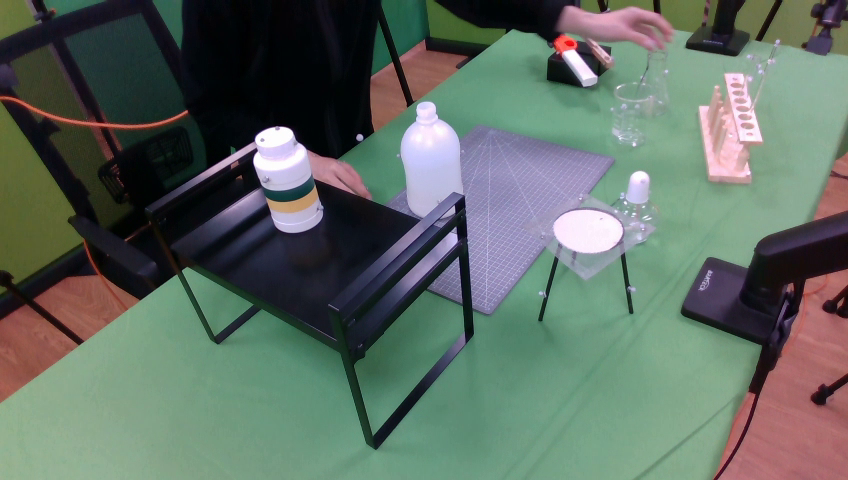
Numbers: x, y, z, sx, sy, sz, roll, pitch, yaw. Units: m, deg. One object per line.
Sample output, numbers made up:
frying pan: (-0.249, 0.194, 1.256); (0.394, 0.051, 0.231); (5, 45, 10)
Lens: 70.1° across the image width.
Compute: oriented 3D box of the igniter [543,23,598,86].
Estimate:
igniter: (0.320, -0.419, 1.344); (0.057, 0.025, 0.274); (-12, 44, -3)

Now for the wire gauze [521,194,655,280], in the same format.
wire gauze: (0.207, -0.012, 0.772); (0.122, 0.011, 0.124); (-28, 44, -20)

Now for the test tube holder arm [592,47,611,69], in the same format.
test tube holder arm: (0.385, -0.398, 1.317); (0.010, 0.015, 0.087); (-9, 41, -2)

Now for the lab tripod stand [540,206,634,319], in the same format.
lab tripod stand: (0.218, 0.034, 0.821); (0.148, 0.132, 0.147); (-4, 42, 4)

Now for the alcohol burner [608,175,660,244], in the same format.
alcohol burner: (0.322, -0.053, 0.924); (0.078, 0.119, 0.077); (-4, 43, 4)

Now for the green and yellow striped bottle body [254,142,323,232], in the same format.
green and yellow striped bottle body: (-0.165, -0.073, 0.732); (0.063, 0.120, 0.063); (-4, 41, 4)

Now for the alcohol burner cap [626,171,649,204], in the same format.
alcohol burner cap: (0.320, -0.081, 0.900); (0.034, 0.048, 0.033); (-4, 42, 4)

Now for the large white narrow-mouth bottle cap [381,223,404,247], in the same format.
large white narrow-mouth bottle cap: (-0.052, -0.008, 0.992); (0.038, 0.024, 0.037); (-5, 39, 4)

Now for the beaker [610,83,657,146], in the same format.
beaker: (0.388, -0.235, 1.138); (0.074, 0.101, 0.083); (-31, 45, -25)

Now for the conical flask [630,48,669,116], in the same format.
conical flask: (0.457, -0.317, 1.205); (0.075, 0.122, 0.075); (-4, 41, 4)

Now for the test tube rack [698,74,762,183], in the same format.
test tube rack: (0.547, -0.208, 1.095); (0.066, 0.085, 0.242); (5, 42, 15)

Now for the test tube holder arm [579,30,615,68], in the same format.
test tube holder arm: (0.384, -0.428, 1.351); (0.013, 0.015, 0.177); (-10, 41, -4)

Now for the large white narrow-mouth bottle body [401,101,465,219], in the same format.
large white narrow-mouth bottle body: (0.013, -0.136, 0.999); (0.102, 0.195, 0.101); (-5, 39, 5)

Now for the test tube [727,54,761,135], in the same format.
test tube: (0.564, -0.254, 1.069); (0.017, 0.151, 0.017); (-1, 40, 1)

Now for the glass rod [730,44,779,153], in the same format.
glass rod: (0.555, -0.234, 1.021); (0.008, 0.200, 0.008); (2, 40, -1)

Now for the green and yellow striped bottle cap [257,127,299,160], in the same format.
green and yellow striped bottle cap: (-0.169, -0.112, 0.698); (0.045, 0.020, 0.045); (-5, 40, 5)
